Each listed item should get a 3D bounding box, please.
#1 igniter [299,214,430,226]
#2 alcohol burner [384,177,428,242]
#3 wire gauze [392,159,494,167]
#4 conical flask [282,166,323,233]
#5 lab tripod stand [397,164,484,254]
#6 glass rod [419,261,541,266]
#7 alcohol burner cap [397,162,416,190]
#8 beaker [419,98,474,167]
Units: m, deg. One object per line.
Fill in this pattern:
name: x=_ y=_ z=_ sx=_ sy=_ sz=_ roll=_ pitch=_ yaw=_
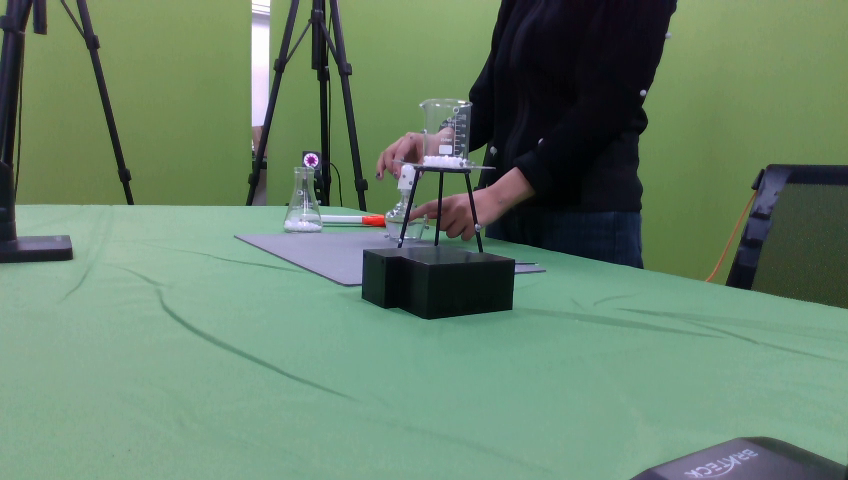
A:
igniter: x=-0.123 y=-0.044 z=1.281 sx=0.278 sy=0.025 sz=0.057 roll=0 pitch=-2 yaw=-19
alcohol burner: x=-0.031 y=-0.057 z=1.052 sx=0.078 sy=0.119 sz=0.078 roll=2 pitch=10 yaw=0
wire gauze: x=0.032 y=-0.114 z=0.923 sx=0.124 sy=0.011 sz=0.122 roll=5 pitch=5 yaw=32
conical flask: x=-0.225 y=-0.076 z=1.129 sx=0.075 sy=0.122 sz=0.075 roll=2 pitch=8 yaw=0
lab tripod stand: x=0.030 y=-0.049 z=0.930 sx=0.148 sy=0.131 sz=0.148 roll=4 pitch=6 yaw=0
glass rod: x=0.080 y=0.031 z=0.807 sx=0.201 sy=0.008 sz=0.008 roll=1 pitch=6 yaw=-32
alcohol burner cap: x=-0.030 y=-0.111 z=1.048 sx=0.034 sy=0.048 sz=0.034 roll=2 pitch=1 yaw=0
beaker: x=0.032 y=-0.161 z=0.913 sx=0.084 sy=0.100 sz=0.074 roll=1 pitch=7 yaw=-10
